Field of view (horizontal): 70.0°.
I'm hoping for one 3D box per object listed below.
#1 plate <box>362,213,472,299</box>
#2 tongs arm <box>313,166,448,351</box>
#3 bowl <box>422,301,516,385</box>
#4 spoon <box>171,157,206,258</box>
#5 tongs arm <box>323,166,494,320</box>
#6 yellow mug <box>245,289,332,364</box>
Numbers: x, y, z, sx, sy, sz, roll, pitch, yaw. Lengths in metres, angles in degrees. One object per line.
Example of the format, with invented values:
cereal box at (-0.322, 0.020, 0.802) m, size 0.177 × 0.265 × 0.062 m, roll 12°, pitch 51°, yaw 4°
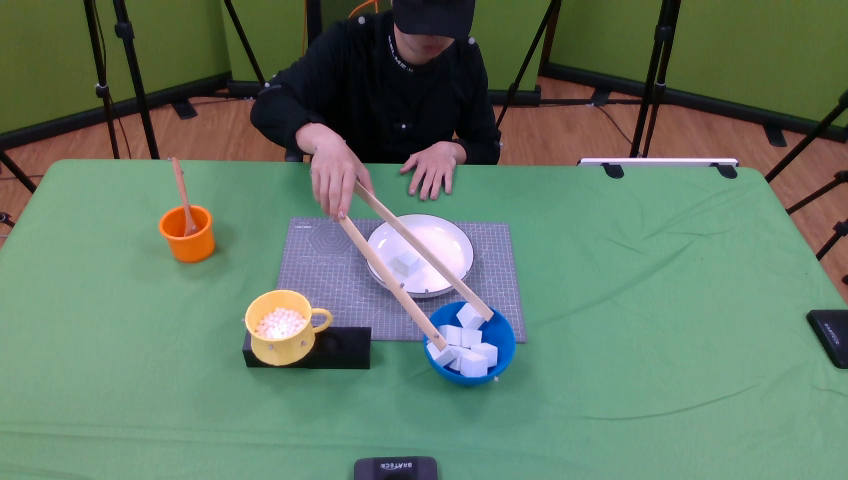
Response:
plate at (-0.014, 0.034, 1.149) m, size 0.208 × 0.039 × 0.206 m, roll 3°, pitch 46°, yaw -2°
tongs arm at (-0.074, 0.020, 0.982) m, size 0.051 × 0.026 × 0.383 m, roll -25°, pitch 64°, yaw -38°
bowl at (0.069, 0.181, 0.990) m, size 0.151 × 0.077 × 0.150 m, roll 2°, pitch 46°, yaw -2°
spoon at (-0.444, -0.061, 1.133) m, size 0.042 × 0.193 × 0.021 m, roll -12°, pitch 4°, yaw -20°
tongs arm at (-0.031, -0.001, 1.023) m, size 0.386 × 0.028 × 0.028 m, roll 42°, pitch 51°, yaw 15°
yellow mug at (-0.211, 0.133, 0.954) m, size 0.131 × 0.064 × 0.099 m, roll -9°, pitch 48°, yaw -14°
